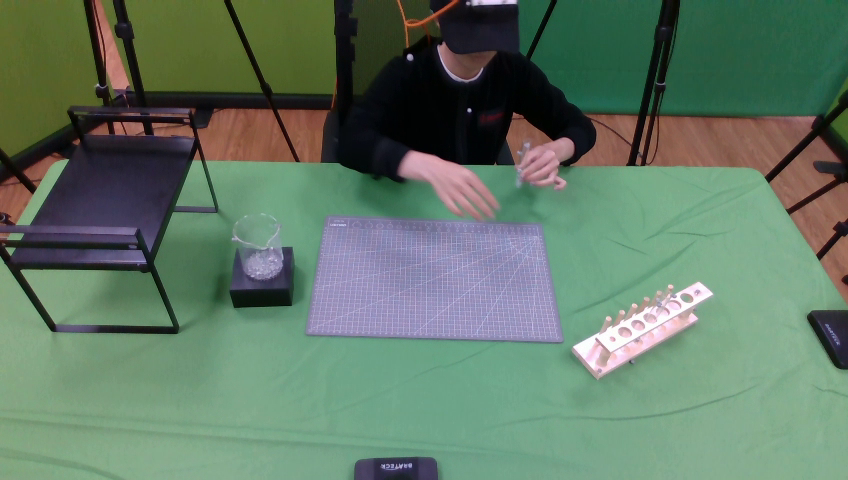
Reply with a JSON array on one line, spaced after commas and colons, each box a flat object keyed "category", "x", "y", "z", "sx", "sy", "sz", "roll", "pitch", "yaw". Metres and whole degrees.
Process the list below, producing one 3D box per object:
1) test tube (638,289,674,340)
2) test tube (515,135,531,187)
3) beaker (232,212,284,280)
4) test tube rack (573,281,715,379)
[{"category": "test tube", "x": 0.374, "y": 0.124, "z": 0.983, "sx": 0.017, "sy": 0.151, "sz": 0.017, "roll": 0, "pitch": 54, "yaw": 0}, {"category": "test tube", "x": 0.194, "y": -0.153, "z": 1.198, "sx": 0.017, "sy": 0.151, "sz": 0.017, "roll": -1, "pitch": 58, "yaw": 1}, {"category": "beaker", "x": -0.280, "y": 0.016, "z": 1.037, "sx": 0.074, "sy": 0.101, "sz": 0.083, "roll": -19, "pitch": 50, "yaw": -20}, {"category": "test tube rack", "x": 0.378, "y": 0.140, "z": 1.038, "sx": 0.242, "sy": 0.085, "sz": 0.066, "roll": -22, "pitch": 51, "yaw": -23}]
